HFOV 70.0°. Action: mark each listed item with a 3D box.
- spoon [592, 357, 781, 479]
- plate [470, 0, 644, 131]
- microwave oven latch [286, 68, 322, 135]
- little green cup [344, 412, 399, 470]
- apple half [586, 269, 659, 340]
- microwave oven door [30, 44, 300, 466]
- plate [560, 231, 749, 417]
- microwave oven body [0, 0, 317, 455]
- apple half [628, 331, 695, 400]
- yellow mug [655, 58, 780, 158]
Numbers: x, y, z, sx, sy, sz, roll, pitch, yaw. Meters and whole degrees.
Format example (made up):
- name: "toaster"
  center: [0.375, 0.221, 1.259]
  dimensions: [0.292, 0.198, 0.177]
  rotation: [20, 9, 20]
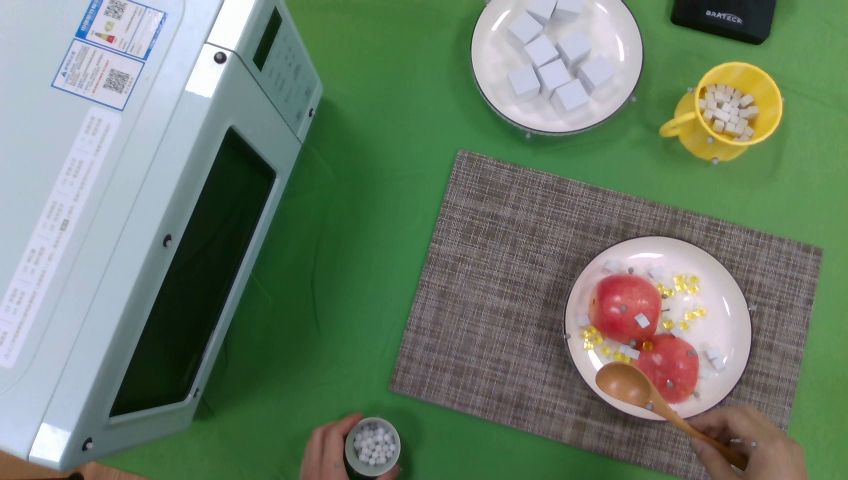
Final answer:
- name: "spoon"
  center: [0.245, 0.172, 0.568]
  dimensions: [0.193, 0.021, 0.042]
  rotation: [35, 110, 12]
- name: "plate"
  center: [0.159, -0.230, 0.742]
  dimensions: [0.208, 0.039, 0.207]
  rotation: [0, 82, 1]
- name: "microwave oven latch"
  center: [-0.148, -0.168, 0.719]
  dimensions: [0.030, 0.029, 0.079]
  rotation: [22, 83, 4]
- name: "little green cup"
  center: [-0.059, 0.223, 0.678]
  dimensions: [0.061, 0.038, 0.061]
  rotation: [1, 81, -7]
- name: "apple half"
  center: [0.224, 0.070, 0.678]
  dimensions: [0.074, 0.053, 0.080]
  rotation: [14, 83, 5]
- name: "microwave oven door"
  center: [-0.226, 0.021, 0.592]
  dimensions: [0.039, 0.244, 0.355]
  rotation: [19, 82, 5]
- name: "plate"
  center: [0.256, 0.094, 0.689]
  dimensions: [0.209, 0.038, 0.208]
  rotation: [0, 82, 1]
- name: "microwave oven body"
  center: [-0.349, -0.066, 0.611]
  dimensions: [0.326, 0.261, 0.440]
  rotation: [19, 83, 3]
- name: "apple half"
  center: [0.268, 0.138, 0.677]
  dimensions: [0.081, 0.033, 0.081]
  rotation: [0, 78, 1]
- name: "yellow mug"
  center: [0.337, -0.149, 0.712]
  dimensions: [0.131, 0.064, 0.099]
  rotation: [-15, 81, -1]
